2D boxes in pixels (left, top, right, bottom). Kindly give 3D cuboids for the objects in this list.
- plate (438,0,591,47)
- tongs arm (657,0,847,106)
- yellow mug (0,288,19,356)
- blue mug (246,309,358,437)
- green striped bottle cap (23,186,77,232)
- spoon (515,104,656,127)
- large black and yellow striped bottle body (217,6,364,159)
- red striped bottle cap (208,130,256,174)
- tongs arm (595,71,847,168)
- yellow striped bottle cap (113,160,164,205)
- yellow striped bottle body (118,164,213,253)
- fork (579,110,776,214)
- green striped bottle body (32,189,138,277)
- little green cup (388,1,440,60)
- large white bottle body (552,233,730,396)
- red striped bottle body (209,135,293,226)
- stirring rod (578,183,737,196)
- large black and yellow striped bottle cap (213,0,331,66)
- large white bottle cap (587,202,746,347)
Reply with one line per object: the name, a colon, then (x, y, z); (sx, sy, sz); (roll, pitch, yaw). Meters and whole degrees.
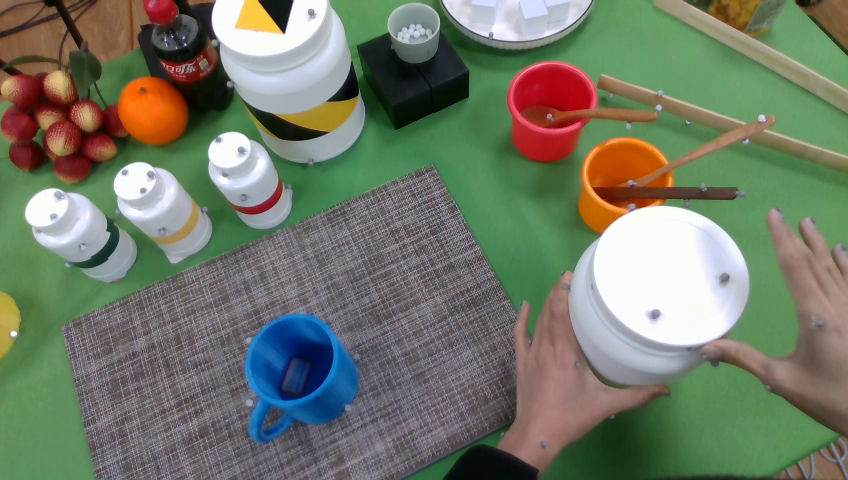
plate: (0.118, -0.334, 0.800); (0.209, 0.038, 0.207); (-1, 67, 3)
tongs arm: (0.440, -0.208, 0.729); (0.385, 0.028, 0.028); (40, 67, 18)
yellow mug: (-0.493, 0.098, 0.633); (0.100, 0.064, 0.129); (-16, 67, -3)
blue mug: (-0.120, 0.133, 0.570); (0.082, 0.106, 0.116); (29, 71, 16)
green striped bottle cap: (-0.366, -0.031, 0.594); (0.044, 0.020, 0.044); (-1, 65, 2)
spoon: (0.166, -0.137, 0.654); (0.041, 0.192, 0.022); (-42, 115, -18)
large black and yellow striped bottle body: (-0.145, -0.189, 0.672); (0.131, 0.185, 0.130); (-1, 66, 3)
red striped bottle cap: (-0.193, -0.089, 0.609); (0.044, 0.018, 0.044); (0, 63, 0)
tongs arm: (0.390, -0.138, 0.699); (0.383, 0.027, 0.050); (24, 66, 12)
yellow striped bottle cap: (-0.283, -0.058, 0.601); (0.044, 0.019, 0.044); (0, 61, 1)
yellow striped bottle body: (-0.279, -0.037, 0.649); (0.063, 0.121, 0.062); (-2, 65, 4)
fork: (0.250, -0.077, 0.619); (0.207, 0.019, 0.028); (-30, 56, 39)
green striped bottle body: (-0.362, -0.010, 0.642); (0.063, 0.120, 0.062); (-1, 66, 3)
little green cup: (-0.011, -0.245, 0.713); (0.061, 0.039, 0.061); (-1, 63, 2)
large white bottle body: (0.191, 0.061, 0.543); (0.130, 0.186, 0.129); (-1, 66, 4)
red striped bottle body: (-0.189, -0.067, 0.657); (0.063, 0.120, 0.062); (-2, 66, 6)
stirring rod: (0.229, -0.051, 0.616); (0.175, 0.006, 0.014); (6, 52, 53)
large black and yellow striped bottle cap: (-0.149, -0.223, 0.593); (0.115, 0.019, 0.114); (-2, 69, 5)
large white bottle cap: (0.184, 0.024, 0.462); (0.115, 0.018, 0.114); (-2, 65, 4)
